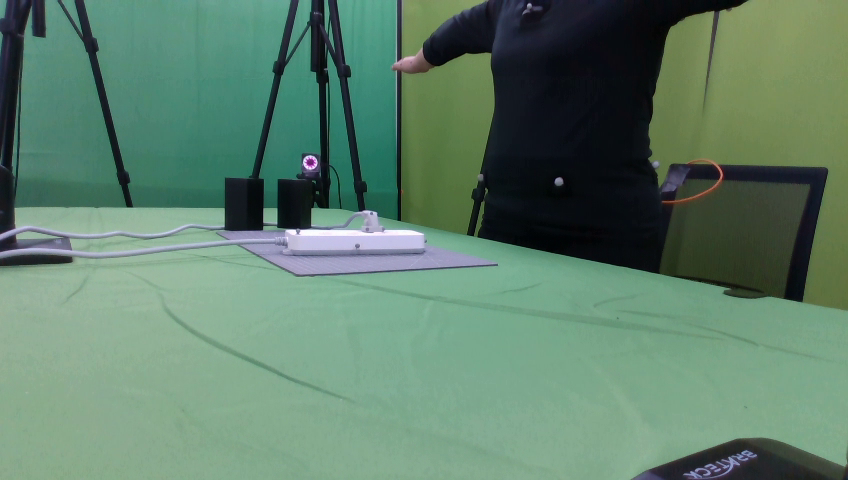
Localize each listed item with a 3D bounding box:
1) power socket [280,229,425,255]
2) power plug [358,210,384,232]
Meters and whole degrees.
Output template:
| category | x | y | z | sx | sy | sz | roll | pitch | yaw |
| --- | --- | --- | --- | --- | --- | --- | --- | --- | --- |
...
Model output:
| category | x | y | z | sx | sy | sz | roll | pitch | yaw |
| --- | --- | --- | --- | --- | --- | --- | --- | --- | --- |
| power socket | -0.105 | 0.002 | 0.920 | 0.228 | 0.032 | 0.072 | -1 | 7 | -23 |
| power plug | -0.085 | -0.020 | 0.958 | 0.035 | 0.052 | 0.072 | 1 | 5 | -12 |
